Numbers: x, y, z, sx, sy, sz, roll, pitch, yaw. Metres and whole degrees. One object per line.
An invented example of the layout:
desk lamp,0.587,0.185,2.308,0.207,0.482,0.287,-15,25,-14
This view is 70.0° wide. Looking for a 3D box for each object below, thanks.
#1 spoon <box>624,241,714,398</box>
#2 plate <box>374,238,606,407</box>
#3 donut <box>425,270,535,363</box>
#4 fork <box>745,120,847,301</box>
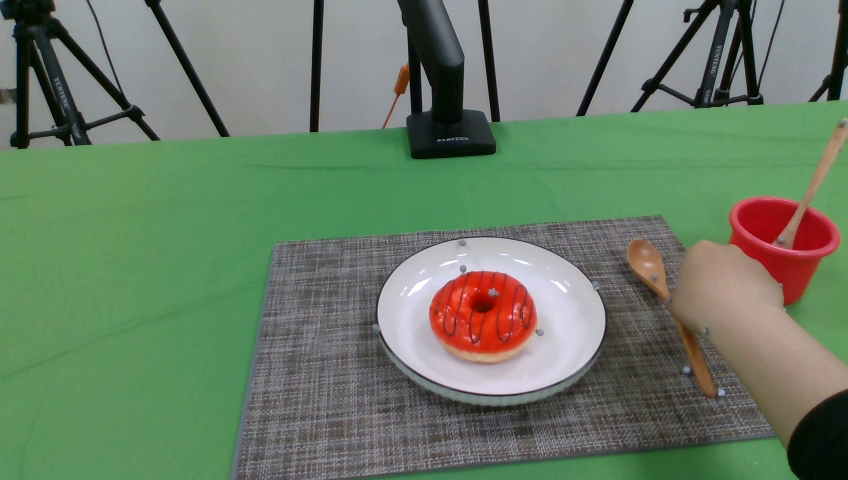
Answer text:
spoon,0.232,0.067,0.575,0.042,0.022,0.192,11,35,-12
plate,0.059,0.073,0.558,0.209,0.038,0.207,0,37,1
donut,0.050,0.068,0.547,0.099,0.049,0.098,-1,40,1
fork,0.376,-0.032,0.605,0.028,0.019,0.207,27,88,31
